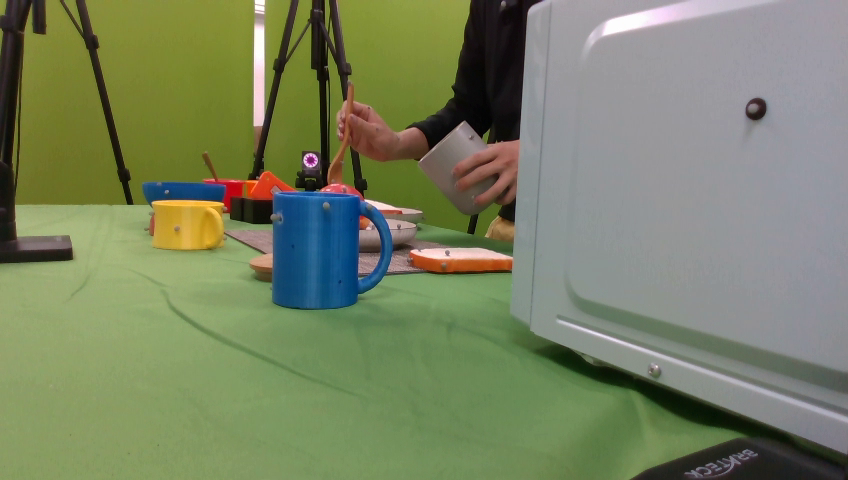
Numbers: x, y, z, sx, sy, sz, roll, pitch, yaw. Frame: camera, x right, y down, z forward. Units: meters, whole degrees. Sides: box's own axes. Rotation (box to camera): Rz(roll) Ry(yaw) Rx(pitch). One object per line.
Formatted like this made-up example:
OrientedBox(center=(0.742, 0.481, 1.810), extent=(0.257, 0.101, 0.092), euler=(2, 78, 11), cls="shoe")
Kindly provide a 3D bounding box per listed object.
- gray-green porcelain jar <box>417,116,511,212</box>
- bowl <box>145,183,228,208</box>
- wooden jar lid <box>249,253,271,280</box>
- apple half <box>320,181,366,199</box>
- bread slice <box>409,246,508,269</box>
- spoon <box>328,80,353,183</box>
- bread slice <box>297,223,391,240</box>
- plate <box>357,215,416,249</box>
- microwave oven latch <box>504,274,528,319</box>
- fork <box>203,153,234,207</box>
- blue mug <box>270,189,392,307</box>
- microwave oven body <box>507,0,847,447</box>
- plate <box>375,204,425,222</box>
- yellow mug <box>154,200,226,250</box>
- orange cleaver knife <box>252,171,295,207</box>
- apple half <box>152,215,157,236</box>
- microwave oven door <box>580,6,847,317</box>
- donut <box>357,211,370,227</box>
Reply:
OrientedBox(center=(0.069, -0.117, 0.975), extent=(0.106, 0.126, 0.106), euler=(-43, 8, 8), cls="gray-green porcelain jar")
OrientedBox(center=(-0.459, -0.069, 1.175), extent=(0.151, 0.077, 0.151), euler=(2, 7, 0), cls="bowl")
OrientedBox(center=(-0.148, 0.028, 0.708), extent=(0.108, 0.020, 0.108), euler=(-1, 9, 0), cls="wooden jar lid")
OrientedBox(center=(-0.130, -0.077, 0.952), extent=(0.081, 0.033, 0.081), euler=(3, 15, 0), cls="apple half")
OrientedBox(center=(0.048, 0.021, 0.816), extent=(0.132, 0.019, 0.104), euler=(0, 7, -24), cls="bread slice")
OrientedBox(center=(-0.136, -0.175, 1.021), extent=(0.021, 0.193, 0.042), euler=(11, -1, 25), cls="spoon")
OrientedBox(center=(-0.121, -0.015, 0.969), extent=(0.106, 0.018, 0.135), euler=(8, 8, 41), cls="bread slice")
OrientedBox(center=(-0.116, -0.014, 0.967), extent=(0.208, 0.039, 0.207), euler=(2, 7, 0), cls="plate")
OrientedBox(center=(0.100, 0.041, 0.471), extent=(0.079, 0.029, 0.030), euler=(-1, 7, -28), cls="microwave oven latch")
OrientedBox(center=(-0.480, -0.135, 1.411), extent=(0.028, 0.018, 0.207), euler=(1, -34, -1), cls="fork")
OrientedBox(center=(-0.090, 0.005, 0.588), extent=(0.117, 0.106, 0.082), euler=(1, 7, -11), cls="blue mug")
OrientedBox(center=(0.331, -0.042, 0.425), extent=(0.444, 0.260, 0.324), euler=(-2, 8, -31), cls="microwave oven body")
OrientedBox(center=(-0.102, -0.053, 1.299), extent=(0.209, 0.038, 0.209), euler=(2, 8, 0), cls="plate")
OrientedBox(center=(-0.337, -0.023, 0.899), extent=(0.130, 0.064, 0.100), euler=(8, 9, 34), cls="yellow mug")
OrientedBox(center=(-0.283, -0.087, 1.343), extent=(0.212, 0.077, 0.012), euler=(24, -16, -41), cls="orange cleaver knife")
OrientedBox(center=(-0.415, -0.034, 1.017), extent=(0.081, 0.053, 0.074), euler=(1, 10, -9), cls="apple half")
OrientedBox(center=(0.295, -0.067, 0.570), extent=(0.358, 0.243, 0.039), euler=(-3, 9, -31), cls="microwave oven door")
OrientedBox(center=(-0.132, -0.042, 0.959), extent=(0.099, 0.048, 0.099), euler=(3, 7, 0), cls="donut")
